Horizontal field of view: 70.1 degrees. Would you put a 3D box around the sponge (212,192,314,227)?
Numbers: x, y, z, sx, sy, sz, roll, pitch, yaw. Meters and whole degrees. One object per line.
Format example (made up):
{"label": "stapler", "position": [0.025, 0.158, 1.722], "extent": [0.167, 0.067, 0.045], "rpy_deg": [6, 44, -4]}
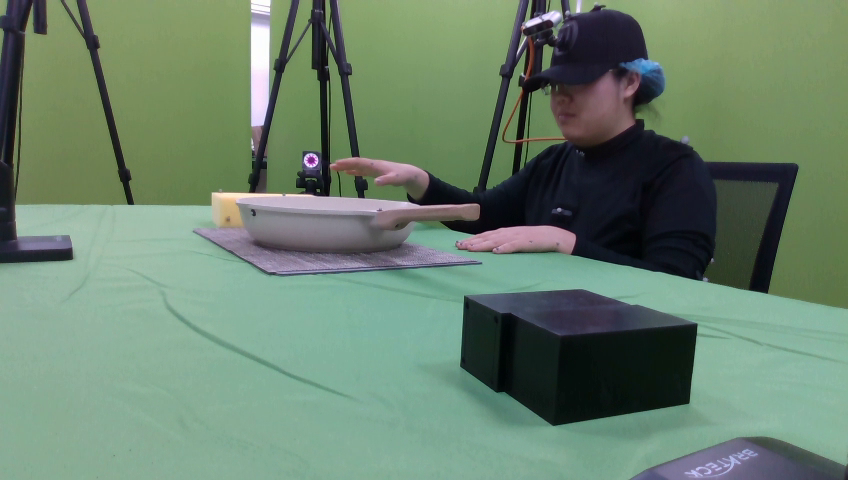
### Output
{"label": "sponge", "position": [-0.317, -0.063, 1.233], "extent": [0.208, 0.061, 0.117], "rpy_deg": [-2, 8, -27]}

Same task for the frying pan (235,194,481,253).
{"label": "frying pan", "position": [-0.089, -0.034, 0.891], "extent": [0.308, 0.102, 0.485], "rpy_deg": [-4, 2, -36]}
